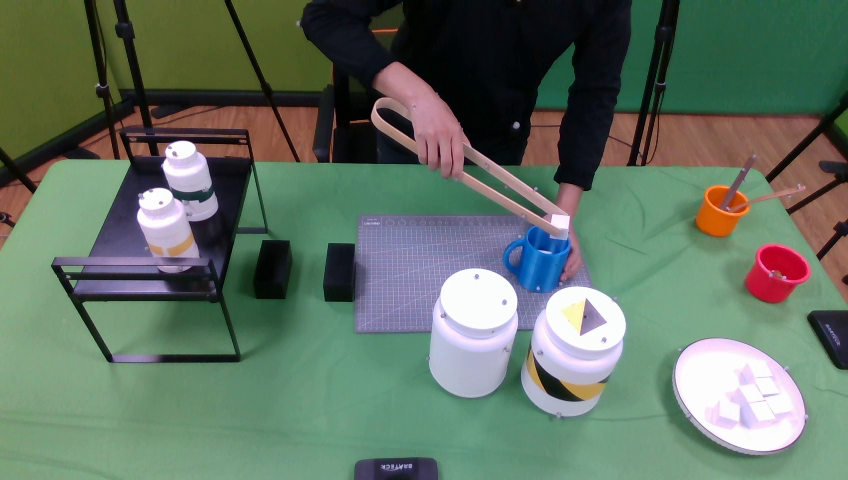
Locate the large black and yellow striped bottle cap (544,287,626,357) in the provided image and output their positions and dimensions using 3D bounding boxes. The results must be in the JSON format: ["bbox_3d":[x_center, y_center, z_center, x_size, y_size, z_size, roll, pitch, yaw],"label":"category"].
[{"bbox_3d":[0.232,0.116,0.876,0.115,0.019,0.114,1,46,-1],"label":"large black and yellow striped bottle cap"}]

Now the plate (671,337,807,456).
[{"bbox_3d":[0.504,0.254,0.984,0.208,0.039,0.206,2,46,-2],"label":"plate"}]

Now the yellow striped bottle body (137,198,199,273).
[{"bbox_3d":[-0.366,-0.014,0.864,0.063,0.121,0.062,2,46,-2],"label":"yellow striped bottle body"}]

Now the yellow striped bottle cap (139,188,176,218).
[{"bbox_3d":[-0.363,-0.051,0.826,0.044,0.019,0.044,1,47,-1],"label":"yellow striped bottle cap"}]

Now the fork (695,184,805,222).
[{"bbox_3d":[0.657,-0.075,1.230,0.207,0.019,0.028,-23,34,37],"label":"fork"}]

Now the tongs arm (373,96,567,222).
[{"bbox_3d":[0.077,-0.135,1.049,0.385,0.026,0.050,36,57,1],"label":"tongs arm"}]

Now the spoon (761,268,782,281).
[{"bbox_3d":[0.638,0.060,1.105,0.041,0.021,0.194,38,11,24],"label":"spoon"}]

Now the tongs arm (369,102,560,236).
[{"bbox_3d":[0.066,-0.118,1.035,0.388,0.028,0.028,32,60,-1],"label":"tongs arm"}]

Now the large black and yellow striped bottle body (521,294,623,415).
[{"bbox_3d":[0.228,0.173,0.938,0.131,0.185,0.130,2,47,-2],"label":"large black and yellow striped bottle body"}]

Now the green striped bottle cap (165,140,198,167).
[{"bbox_3d":[-0.361,-0.128,0.902,0.044,0.020,0.044,3,47,-3],"label":"green striped bottle cap"}]

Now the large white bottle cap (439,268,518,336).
[{"bbox_3d":[0.080,0.089,0.888,0.115,0.018,0.114,2,47,-2],"label":"large white bottle cap"}]

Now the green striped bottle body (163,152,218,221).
[{"bbox_3d":[-0.363,-0.092,0.939,0.063,0.120,0.063,2,46,-2],"label":"green striped bottle body"}]

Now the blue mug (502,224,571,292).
[{"bbox_3d":[0.202,0.031,1.121,0.116,0.106,0.082,5,47,1],"label":"blue mug"}]

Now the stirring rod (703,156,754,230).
[{"bbox_3d":[0.631,-0.098,1.258,0.014,0.006,0.176,33,95,28],"label":"stirring rod"}]

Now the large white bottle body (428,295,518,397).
[{"bbox_3d":[0.076,0.147,0.950,0.131,0.185,0.130,2,46,-2],"label":"large white bottle body"}]
